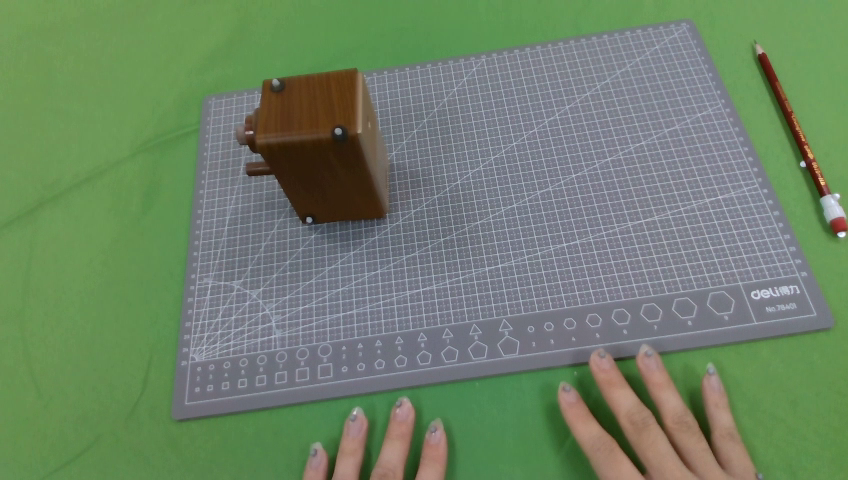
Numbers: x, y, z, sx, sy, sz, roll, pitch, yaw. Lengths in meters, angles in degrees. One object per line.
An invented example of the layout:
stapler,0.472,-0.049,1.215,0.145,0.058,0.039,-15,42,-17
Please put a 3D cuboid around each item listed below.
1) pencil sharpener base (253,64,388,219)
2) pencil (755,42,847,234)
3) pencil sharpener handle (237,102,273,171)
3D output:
pencil sharpener base,-0.072,-0.068,0.446,0.076,0.108,0.061,-5,61,5
pencil,0.291,-0.088,0.474,0.012,0.012,0.192,-5,59,5
pencil sharpener handle,-0.125,-0.070,0.440,0.030,0.068,0.035,-5,65,5
